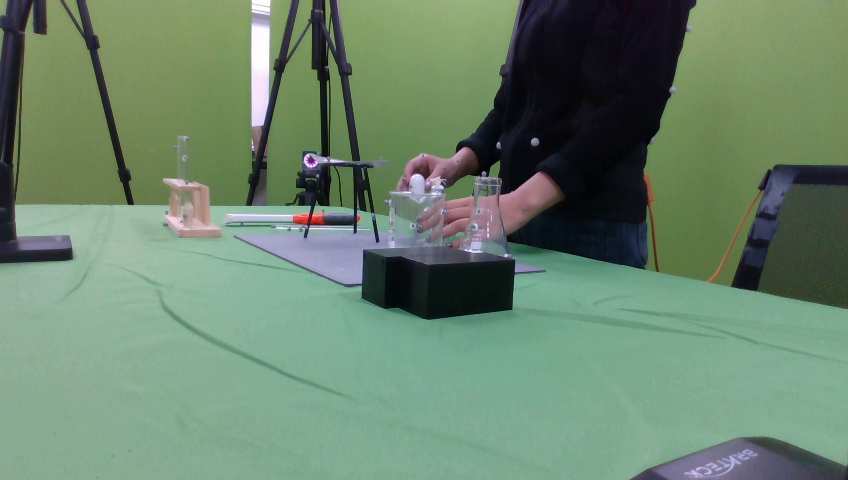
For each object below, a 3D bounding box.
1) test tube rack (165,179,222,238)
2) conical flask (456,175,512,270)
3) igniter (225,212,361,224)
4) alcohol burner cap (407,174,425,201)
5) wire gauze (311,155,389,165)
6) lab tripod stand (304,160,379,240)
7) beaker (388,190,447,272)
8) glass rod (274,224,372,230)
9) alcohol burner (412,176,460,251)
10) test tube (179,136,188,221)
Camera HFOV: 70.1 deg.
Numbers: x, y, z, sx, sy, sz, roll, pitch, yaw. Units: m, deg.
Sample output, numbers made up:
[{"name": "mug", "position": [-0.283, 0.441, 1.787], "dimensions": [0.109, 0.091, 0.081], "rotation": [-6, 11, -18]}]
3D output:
[{"name": "test tube rack", "position": [-0.423, -0.062, 1.098], "dimensions": [0.067, 0.085, 0.241], "rotation": [-2, 9, -28]}, {"name": "conical flask", "position": [0.082, -0.025, 0.801], "dimensions": [0.075, 0.122, 0.075], "rotation": [2, 7, 0]}, {"name": "igniter", "position": [-0.262, -0.044, 1.240], "dimensions": [0.278, 0.025, 0.057], "rotation": [-2, -1, -31]}, {"name": "alcohol burner cap", "position": [-0.015, -0.094, 1.076], "dimensions": [0.034, 0.048, 0.034], "rotation": [1, 5, 0]}, {"name": "wire gauze", "position": [-0.128, -0.137, 1.042], "dimensions": [0.122, 0.011, 0.124], "rotation": [1, 8, -18]}, {"name": "lab tripod stand", "position": [-0.131, -0.071, 1.046], "dimensions": [0.148, 0.131, 0.148], "rotation": [4, 7, 0]}, {"name": "beaker", "position": [-0.010, -0.013, 0.771], "dimensions": [0.074, 0.100, 0.084], "rotation": [3, 7, 4]}, {"name": "glass rod", "position": [-0.193, -0.024, 1.176], "dimensions": [0.201, 0.008, 0.008], "rotation": [1, 7, -31]}, {"name": "alcohol burner", "position": [0.020, -0.043, 0.959], "dimensions": [0.078, 0.119, 0.078], "rotation": [4, 9, 0]}, {"name": "test tube", "position": [-0.425, -0.108, 1.070], "dimensions": [0.017, 0.150, 0.017], "rotation": [4, 9, 0]}]
